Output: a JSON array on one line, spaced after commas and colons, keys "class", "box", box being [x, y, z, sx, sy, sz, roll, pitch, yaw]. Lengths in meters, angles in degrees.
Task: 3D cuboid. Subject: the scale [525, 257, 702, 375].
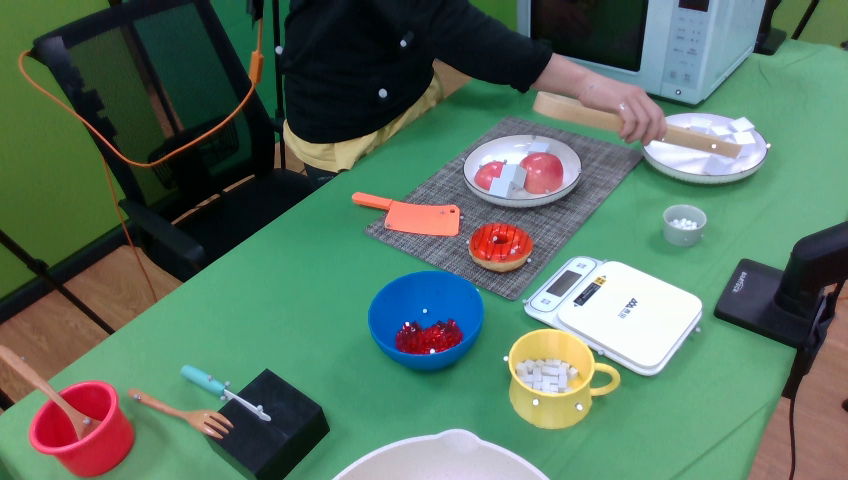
[{"class": "scale", "box": [0.254, 0.091, 0.821, 0.199, 0.032, 0.149, 28, 51, 35]}]

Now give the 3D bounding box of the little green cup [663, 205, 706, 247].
[{"class": "little green cup", "box": [0.396, -0.021, 0.926, 0.061, 0.039, 0.061, -4, 40, 4]}]

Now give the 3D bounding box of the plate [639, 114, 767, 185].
[{"class": "plate", "box": [0.489, -0.157, 1.074, 0.207, 0.039, 0.206, -4, 40, 4]}]

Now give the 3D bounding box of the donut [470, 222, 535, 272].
[{"class": "donut", "box": [0.119, 0.009, 0.923, 0.099, 0.048, 0.098, -3, 38, 3]}]

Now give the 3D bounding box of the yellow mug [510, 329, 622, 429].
[{"class": "yellow mug", "box": [0.169, 0.164, 0.721, 0.130, 0.064, 0.099, 0, 40, 8]}]

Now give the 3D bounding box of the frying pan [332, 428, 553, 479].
[{"class": "frying pan", "box": [-0.089, 0.306, 0.564, 0.487, 0.103, 0.306, 10, 41, 7]}]

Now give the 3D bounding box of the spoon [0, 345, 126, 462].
[{"class": "spoon", "box": [-0.434, 0.192, 0.720, 0.194, 0.021, 0.042, 47, 53, -6]}]

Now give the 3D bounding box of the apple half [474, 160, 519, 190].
[{"class": "apple half", "box": [0.131, -0.120, 1.068, 0.081, 0.033, 0.081, -4, 36, 3]}]

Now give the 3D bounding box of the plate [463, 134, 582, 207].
[{"class": "plate", "box": [0.173, -0.119, 1.070, 0.209, 0.038, 0.208, -4, 40, 4]}]

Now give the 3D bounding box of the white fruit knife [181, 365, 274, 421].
[{"class": "white fruit knife", "box": [-0.245, 0.188, 0.747, 0.205, 0.027, 0.016, 9, 41, 41]}]

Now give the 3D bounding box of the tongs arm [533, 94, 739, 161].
[{"class": "tongs arm", "box": [0.346, -0.171, 0.949, 0.390, 0.028, 0.028, 8, 30, -21]}]

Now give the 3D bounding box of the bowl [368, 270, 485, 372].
[{"class": "bowl", "box": [0.007, 0.118, 0.791, 0.151, 0.077, 0.150, -4, 40, 4]}]

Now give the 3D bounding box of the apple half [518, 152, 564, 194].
[{"class": "apple half", "box": [0.204, -0.124, 1.048, 0.075, 0.053, 0.080, -7, 41, -3]}]

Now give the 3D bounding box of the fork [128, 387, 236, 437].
[{"class": "fork", "box": [-0.305, 0.207, 0.744, 0.206, 0.019, 0.028, 3, 41, 36]}]

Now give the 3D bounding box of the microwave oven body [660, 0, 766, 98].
[{"class": "microwave oven body", "box": [0.472, -0.513, 1.317, 0.438, 0.261, 0.327, 26, 51, 34]}]

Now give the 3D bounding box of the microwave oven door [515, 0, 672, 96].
[{"class": "microwave oven door", "box": [0.344, -0.455, 1.259, 0.353, 0.245, 0.039, 26, 51, 33]}]

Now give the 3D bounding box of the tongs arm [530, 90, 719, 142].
[{"class": "tongs arm", "box": [0.338, -0.186, 0.975, 0.387, 0.026, 0.050, 9, 26, -20]}]

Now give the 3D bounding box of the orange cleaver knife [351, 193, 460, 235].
[{"class": "orange cleaver knife", "box": [-0.036, -0.044, 1.029, 0.210, 0.012, 0.077, 10, 48, 18]}]

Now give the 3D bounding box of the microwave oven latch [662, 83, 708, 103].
[{"class": "microwave oven latch", "box": [0.518, -0.296, 1.204, 0.078, 0.029, 0.030, 28, 52, 35]}]
